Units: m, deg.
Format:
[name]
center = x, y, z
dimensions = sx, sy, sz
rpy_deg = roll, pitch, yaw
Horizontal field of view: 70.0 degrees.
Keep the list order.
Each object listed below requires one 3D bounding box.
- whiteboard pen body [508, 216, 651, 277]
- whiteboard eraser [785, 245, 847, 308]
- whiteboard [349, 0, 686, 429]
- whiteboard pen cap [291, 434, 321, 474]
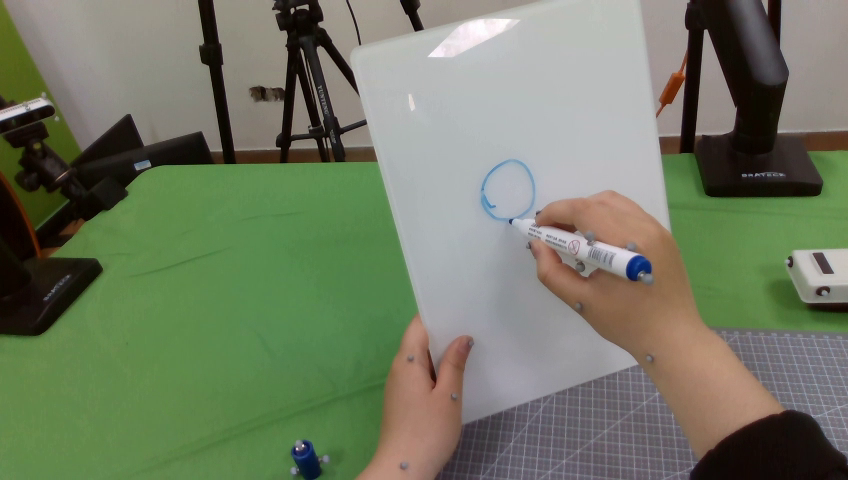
[whiteboard pen body]
center = 0.093, -0.001, 0.396
dimensions = 0.017, 0.017, 0.139
rpy_deg = -24, 22, -18
[whiteboard eraser]
center = 0.386, 0.032, 0.532
dimensions = 0.112, 0.042, 0.055
rpy_deg = -1, 40, 12
[whiteboard]
center = 0.075, -0.035, 0.526
dimensions = 0.217, 0.307, 0.143
rpy_deg = -16, 17, -7
[whiteboard pen cap]
center = -0.092, 0.168, 0.474
dimensions = 0.018, 0.033, 0.018
rpy_deg = -6, 38, 5
